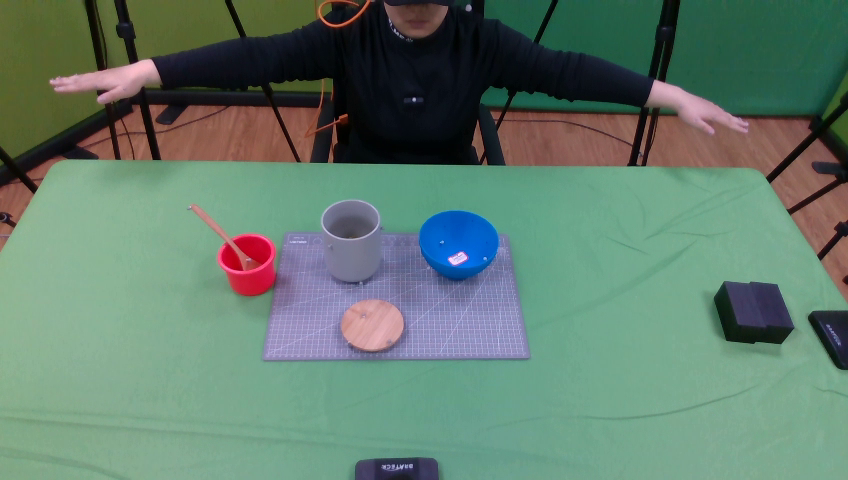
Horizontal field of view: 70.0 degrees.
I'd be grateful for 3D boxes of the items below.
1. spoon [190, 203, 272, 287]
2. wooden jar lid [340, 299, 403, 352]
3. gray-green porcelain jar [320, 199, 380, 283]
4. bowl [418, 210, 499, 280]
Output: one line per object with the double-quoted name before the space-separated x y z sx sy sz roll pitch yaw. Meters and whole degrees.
"spoon" -0.344 0.008 1.080 0.194 0.021 0.041 53 52 -16
"wooden jar lid" -0.090 0.150 1.046 0.108 0.021 0.107 3 47 -3
"gray-green porcelain jar" -0.133 0.007 1.106 0.106 0.127 0.105 2 46 -2
"bowl" 0.062 0.022 1.140 0.151 0.077 0.150 2 46 -2
